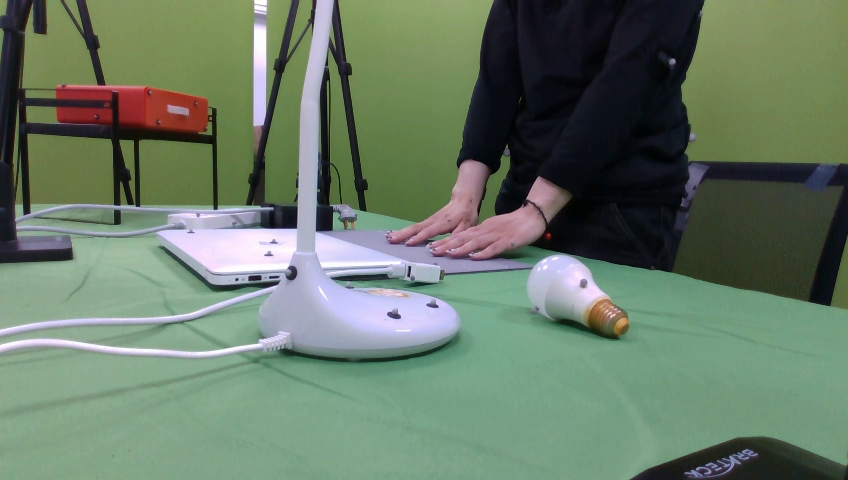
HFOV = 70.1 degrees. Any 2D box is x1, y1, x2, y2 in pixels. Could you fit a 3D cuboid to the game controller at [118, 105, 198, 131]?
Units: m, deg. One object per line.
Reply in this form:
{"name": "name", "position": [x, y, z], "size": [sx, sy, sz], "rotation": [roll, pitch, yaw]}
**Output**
{"name": "game controller", "position": [-0.554, -0.253, 1.254], "size": [0.097, 0.051, 0.155], "rotation": [6, 11, 19]}

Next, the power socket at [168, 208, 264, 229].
{"name": "power socket", "position": [-0.381, -0.038, 1.128], "size": [0.072, 0.032, 0.227], "rotation": [4, 8, 16]}

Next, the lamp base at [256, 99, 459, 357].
{"name": "lamp base", "position": [-0.055, -0.013, 0.463], "size": [0.160, 0.180, 0.180], "rotation": [6, 11, 27]}

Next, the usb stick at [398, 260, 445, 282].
{"name": "usb stick", "position": [0.000, 0.036, 0.696], "size": [0.027, 0.021, 0.059], "rotation": [6, -1, 43]}

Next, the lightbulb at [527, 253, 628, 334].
{"name": "lightbulb", "position": [0.137, 0.050, 0.535], "size": [0.060, 0.059, 0.107], "rotation": [-3, 24, -33]}

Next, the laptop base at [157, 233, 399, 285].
{"name": "laptop base", "position": [-0.204, 0.019, 0.806], "size": [0.237, 0.023, 0.352], "rotation": [0, 7, -33]}

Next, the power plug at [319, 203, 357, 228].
{"name": "power plug", "position": [-0.170, -0.046, 1.210], "size": [0.073, 0.052, 0.035], "rotation": [-6, -17, -8]}

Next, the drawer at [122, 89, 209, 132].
{"name": "drawer", "position": [-0.595, -0.268, 1.263], "size": [0.211, 0.073, 0.195], "rotation": [4, 8, 15]}

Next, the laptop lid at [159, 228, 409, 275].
{"name": "laptop lid", "position": [-0.201, 0.007, 0.806], "size": [0.243, 0.013, 0.355], "rotation": [-1, 8, -31]}

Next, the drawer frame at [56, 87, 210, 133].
{"name": "drawer frame", "position": [-0.598, -0.269, 1.261], "size": [0.213, 0.082, 0.202], "rotation": [4, 8, 14]}
